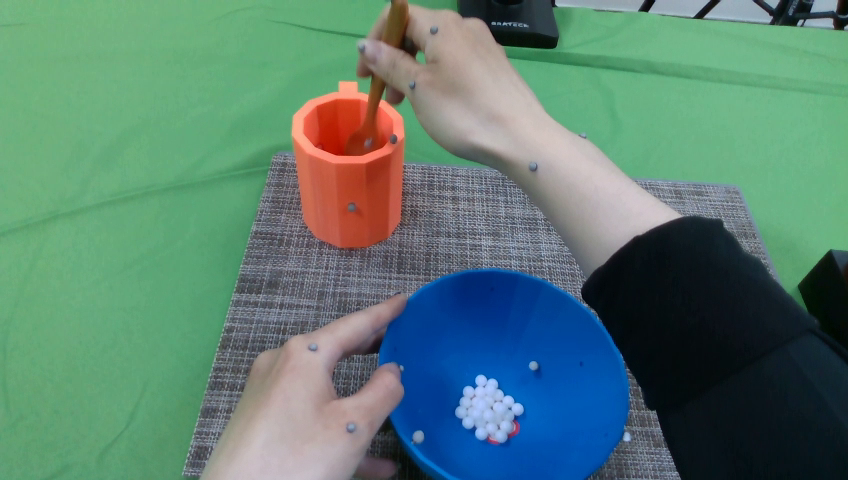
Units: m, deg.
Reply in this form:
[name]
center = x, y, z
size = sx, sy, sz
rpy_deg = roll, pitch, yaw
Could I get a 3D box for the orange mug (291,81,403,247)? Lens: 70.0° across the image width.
[orange mug]
center = -0.063, -0.071, 0.507
size = 0.083, 0.101, 0.125
rpy_deg = -2, 55, -7

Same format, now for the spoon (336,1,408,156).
[spoon]
center = -0.038, -0.097, 0.442
size = 0.041, 0.194, 0.021
rpy_deg = 41, 64, 5

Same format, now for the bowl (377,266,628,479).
[bowl]
center = 0.044, 0.099, 0.388
size = 0.151, 0.077, 0.150
rpy_deg = 3, 50, -3
